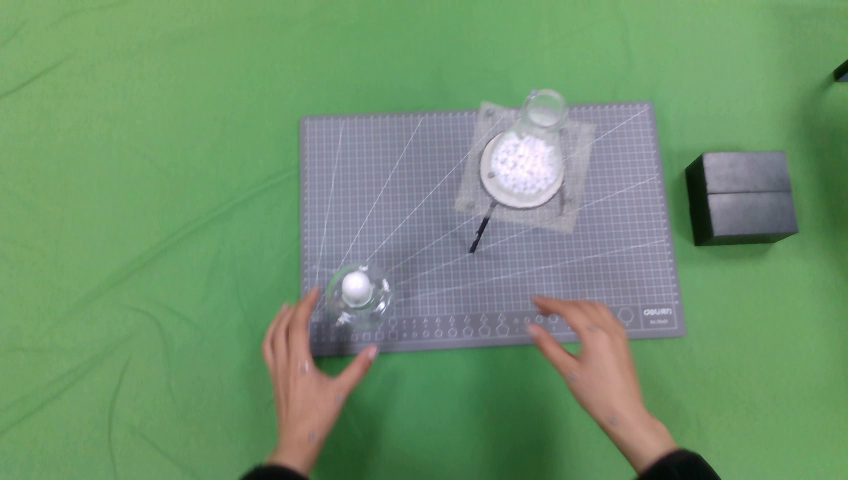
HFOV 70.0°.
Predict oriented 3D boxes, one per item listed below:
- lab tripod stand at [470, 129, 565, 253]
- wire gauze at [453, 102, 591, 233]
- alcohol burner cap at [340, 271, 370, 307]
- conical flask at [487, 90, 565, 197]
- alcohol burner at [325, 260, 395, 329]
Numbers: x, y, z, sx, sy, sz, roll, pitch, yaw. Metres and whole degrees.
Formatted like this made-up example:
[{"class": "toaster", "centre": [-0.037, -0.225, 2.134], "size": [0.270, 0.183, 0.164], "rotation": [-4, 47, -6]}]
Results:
[{"class": "lab tripod stand", "centre": [0.095, -0.060, 0.680], "size": [0.148, 0.132, 0.147], "rotation": [0, 76, 1]}, {"class": "wire gauze", "centre": [0.102, -0.075, 0.615], "size": [0.121, 0.011, 0.124], "rotation": [14, 74, 2]}, {"class": "alcohol burner cap", "centre": [-0.072, 0.048, 0.624], "size": [0.034, 0.048, 0.033], "rotation": [2, 72, -4]}, {"class": "conical flask", "centre": [0.100, -0.093, 0.559], "size": [0.075, 0.122, 0.075], "rotation": [0, 75, 0]}, {"class": "alcohol burner", "centre": [-0.071, 0.057, 0.659], "size": [0.078, 0.119, 0.077], "rotation": [0, 78, -1]}]
